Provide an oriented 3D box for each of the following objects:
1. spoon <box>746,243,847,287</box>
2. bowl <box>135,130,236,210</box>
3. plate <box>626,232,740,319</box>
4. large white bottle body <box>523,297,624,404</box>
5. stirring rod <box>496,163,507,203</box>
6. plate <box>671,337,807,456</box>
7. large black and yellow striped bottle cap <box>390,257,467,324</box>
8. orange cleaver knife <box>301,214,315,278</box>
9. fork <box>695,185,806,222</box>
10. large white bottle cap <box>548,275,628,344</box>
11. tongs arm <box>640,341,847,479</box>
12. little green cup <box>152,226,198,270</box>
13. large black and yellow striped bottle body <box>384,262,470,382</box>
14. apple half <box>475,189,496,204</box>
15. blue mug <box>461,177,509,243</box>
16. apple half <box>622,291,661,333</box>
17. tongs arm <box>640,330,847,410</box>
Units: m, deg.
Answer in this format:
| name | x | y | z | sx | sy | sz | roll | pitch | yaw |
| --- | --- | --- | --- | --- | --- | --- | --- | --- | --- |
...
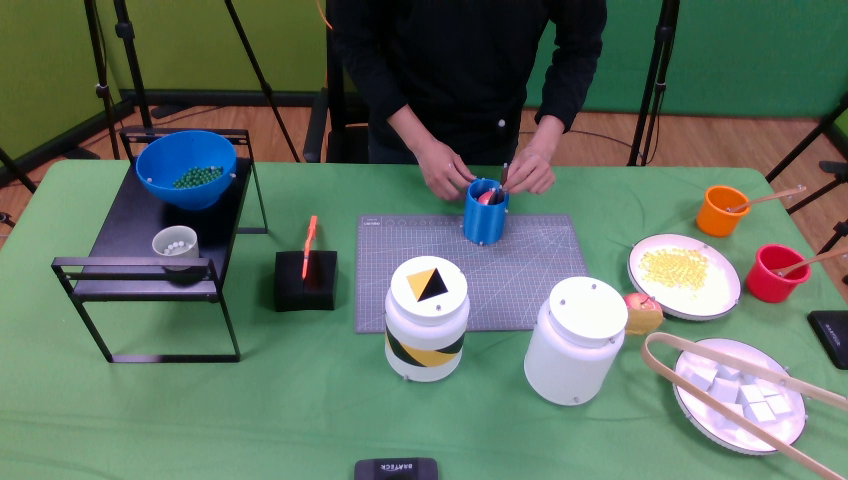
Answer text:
| name | x | y | z | sx | sy | sz | roll | pitch | yaw |
| --- | --- | --- | --- | --- | --- | --- | --- | --- | --- |
| spoon | 0.702 | 0.044 | 1.126 | 0.194 | 0.022 | 0.041 | -29 | 38 | 30 |
| bowl | -0.375 | -0.102 | 0.978 | 0.151 | 0.077 | 0.150 | 2 | 46 | -2 |
| plate | 0.488 | 0.071 | 1.157 | 0.209 | 0.038 | 0.208 | 3 | 46 | -3 |
| large white bottle body | 0.235 | 0.159 | 0.952 | 0.131 | 0.185 | 0.130 | 2 | 47 | -2 |
| stirring rod | 0.144 | -0.081 | 1.147 | 0.014 | 0.177 | 0.006 | -32 | 58 | -22 |
| plate | 0.504 | 0.254 | 0.984 | 0.208 | 0.039 | 0.206 | 2 | 46 | -2 |
| large black and yellow striped bottle cap | 0.007 | 0.072 | 0.898 | 0.115 | 0.019 | 0.114 | 2 | 47 | -2 |
| orange cleaver knife | -0.218 | 0.007 | 1.131 | 0.012 | 0.077 | 0.210 | 7 | 19 | -9 |
| fork | 0.658 | -0.074 | 1.229 | 0.207 | 0.019 | 0.028 | -23 | 34 | 37 |
| large white bottle cap | 0.240 | 0.100 | 0.890 | 0.115 | 0.018 | 0.114 | 3 | 47 | -3 |
| tongs arm | 0.500 | 0.278 | 0.920 | 0.386 | 0.028 | 0.028 | 34 | 59 | 22 |
| little green cup | -0.364 | 0.013 | 0.894 | 0.061 | 0.039 | 0.061 | 3 | 47 | -3 |
| large black and yellow striped bottle body | 0.002 | 0.127 | 0.962 | 0.131 | 0.185 | 0.130 | 2 | 48 | -2 |
| apple half | 0.110 | -0.067 | 1.195 | 0.033 | 0.081 | 0.081 | 27 | 50 | 8 |
| blue mug | 0.114 | -0.069 | 1.210 | 0.082 | 0.106 | 0.115 | -11 | 48 | -15 |
| apple half | 0.372 | 0.124 | 1.074 | 0.081 | 0.075 | 0.053 | 0 | 42 | 1 |
| tongs arm | 0.543 | 0.226 | 0.969 | 0.384 | 0.026 | 0.050 | 22 | 53 | 13 |
